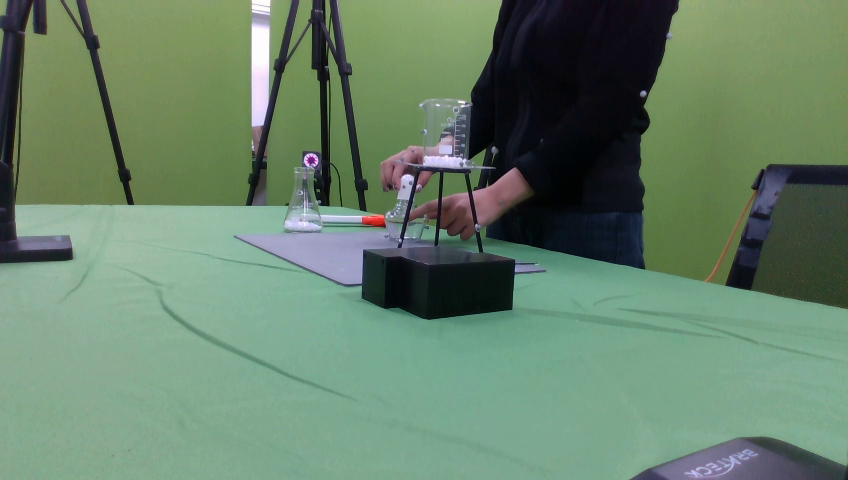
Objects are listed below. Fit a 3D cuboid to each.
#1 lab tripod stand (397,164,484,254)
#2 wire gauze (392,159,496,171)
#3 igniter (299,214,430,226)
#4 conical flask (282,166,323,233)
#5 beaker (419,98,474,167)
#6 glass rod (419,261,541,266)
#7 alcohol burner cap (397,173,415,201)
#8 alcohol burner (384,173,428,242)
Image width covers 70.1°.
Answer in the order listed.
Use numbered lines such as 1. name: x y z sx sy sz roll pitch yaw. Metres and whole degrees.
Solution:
1. lab tripod stand: 0.029 -0.049 0.930 0.148 0.131 0.148 4 6 0
2. wire gauze: 0.032 -0.114 0.923 0.124 0.011 0.122 5 5 32
3. igniter: -0.123 -0.044 1.281 0.278 0.025 0.057 0 -2 -19
4. conical flask: -0.225 -0.076 1.129 0.075 0.122 0.075 2 8 0
5. beaker: 0.032 -0.161 0.913 0.084 0.100 0.074 1 7 -10
6. glass rod: 0.080 0.031 0.807 0.201 0.008 0.008 1 6 -32
7. alcohol burner cap: -0.030 -0.092 1.047 0.034 0.048 0.034 4 3 0
8. alcohol burner: -0.031 -0.057 1.052 0.078 0.119 0.078 2 9 0
